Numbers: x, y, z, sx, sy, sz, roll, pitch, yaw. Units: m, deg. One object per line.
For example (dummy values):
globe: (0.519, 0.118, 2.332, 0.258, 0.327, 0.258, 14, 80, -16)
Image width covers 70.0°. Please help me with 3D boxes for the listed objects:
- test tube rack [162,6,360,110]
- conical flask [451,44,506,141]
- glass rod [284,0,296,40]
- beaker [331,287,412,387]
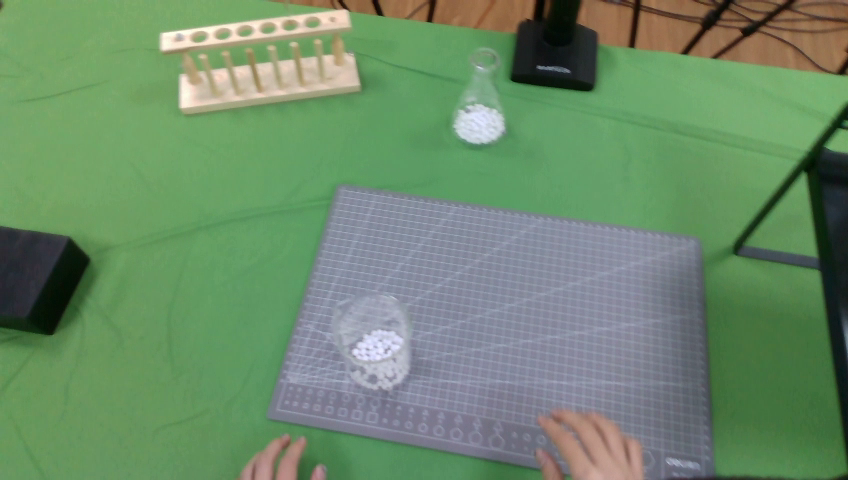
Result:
test tube rack: (-0.214, -0.244, 0.817, 0.243, 0.086, 0.066, -9, 60, -6)
conical flask: (0.073, -0.189, 0.767, 0.075, 0.123, 0.074, 0, 60, 0)
glass rod: (-0.177, -0.307, 0.776, 0.008, 0.201, 0.008, 0, 52, 0)
beaker: (-0.053, 0.100, 0.610, 0.083, 0.101, 0.073, 27, 63, 15)
